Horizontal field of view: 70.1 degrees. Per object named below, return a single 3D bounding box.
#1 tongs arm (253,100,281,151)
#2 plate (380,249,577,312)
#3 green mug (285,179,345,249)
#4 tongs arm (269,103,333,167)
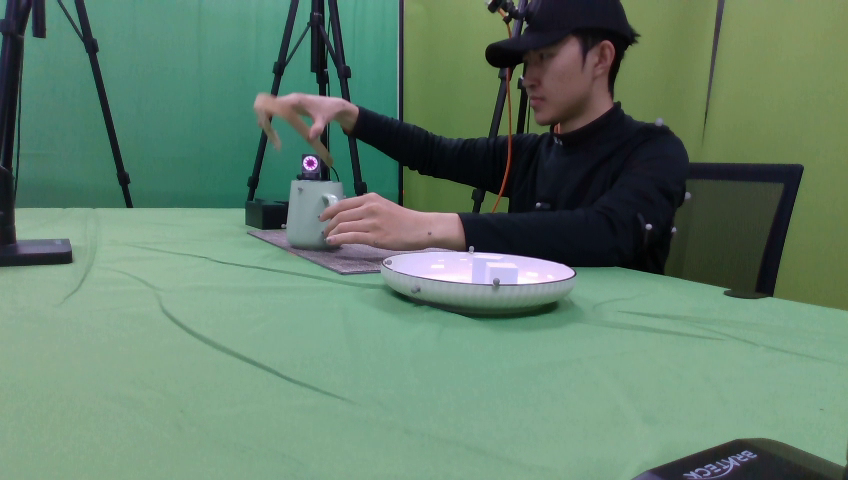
[{"bbox_3d":[-0.308,-0.226,1.251,0.051,0.026,0.384,20,-5,-3],"label":"tongs arm"},{"bbox_3d":[0.056,0.042,0.646,0.209,0.038,0.209,2,7,0],"label":"plate"},{"bbox_3d":[-0.161,-0.040,0.936,0.093,0.105,0.124,-2,8,-32],"label":"green mug"},{"bbox_3d":[-0.241,-0.205,1.252,0.028,0.028,0.388,22,-4,7],"label":"tongs arm"}]
